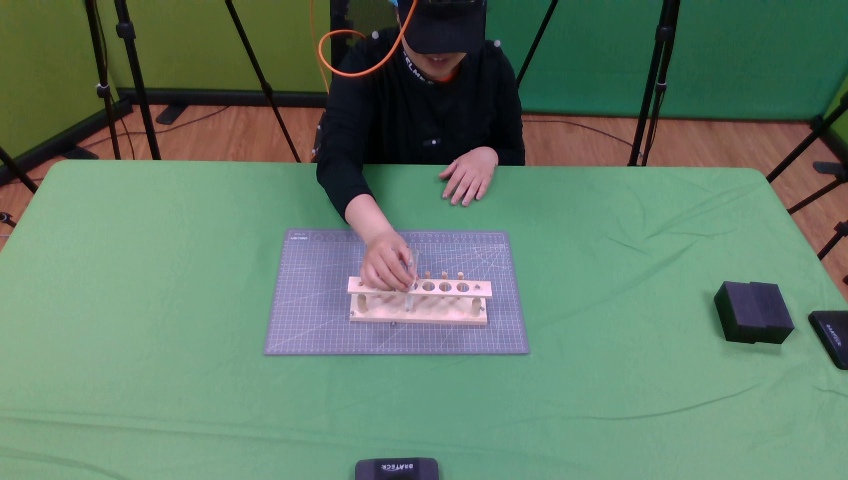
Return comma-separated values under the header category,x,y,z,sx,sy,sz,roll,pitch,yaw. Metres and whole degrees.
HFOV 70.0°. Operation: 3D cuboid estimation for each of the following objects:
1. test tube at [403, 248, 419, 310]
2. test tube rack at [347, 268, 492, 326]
category,x,y,z,sx,sy,sz,roll,pitch,yaw
test tube,-0.022,0.068,1.008,0.017,0.151,0.017,4,47,-4
test tube rack,-0.009,0.095,1.059,0.242,0.085,0.066,2,46,-2
